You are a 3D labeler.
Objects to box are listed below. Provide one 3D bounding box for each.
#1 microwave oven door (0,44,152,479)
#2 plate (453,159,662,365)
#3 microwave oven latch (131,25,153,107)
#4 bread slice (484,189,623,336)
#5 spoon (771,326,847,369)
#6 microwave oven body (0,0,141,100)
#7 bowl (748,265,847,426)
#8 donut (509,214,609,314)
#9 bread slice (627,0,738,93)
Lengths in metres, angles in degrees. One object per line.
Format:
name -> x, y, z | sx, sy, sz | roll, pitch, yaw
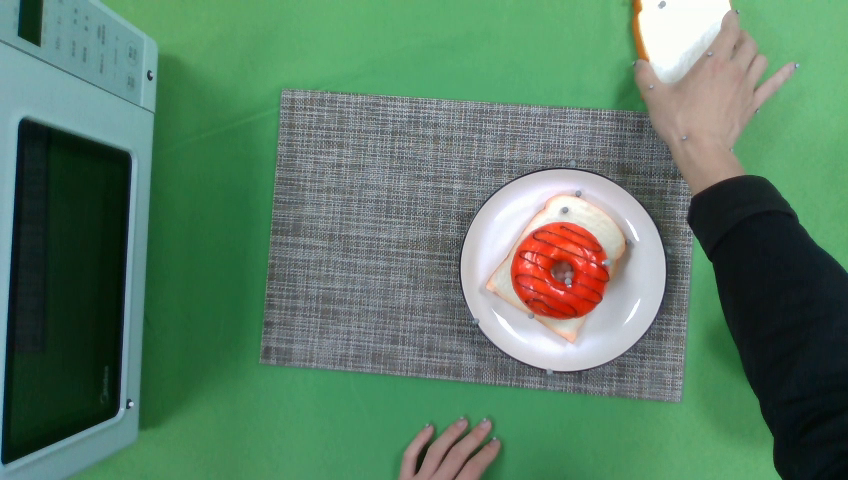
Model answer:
microwave oven door -> -0.324, 0.033, 0.538 | 0.039, 0.244, 0.355 | 2, 89, 4
plate -> 0.135, 0.023, 0.626 | 0.207, 0.039, 0.207 | 0, 89, 4
microwave oven latch -> -0.305, -0.183, 0.640 | 0.030, 0.029, 0.079 | 3, 90, 3
bread slice -> 0.138, 0.015, 0.629 | 0.107, 0.018, 0.134 | 29, 94, 4
spoon -> 0.431, 0.107, 0.561 | 0.193, 0.022, 0.041 | 1, 82, 25
microwave oven body -> -0.468, -0.015, 0.551 | 0.326, 0.260, 0.441 | 2, 90, 3
bowl -> 0.384, 0.098, 0.595 | 0.151, 0.077, 0.151 | 0, 89, 3
donut -> 0.132, 0.024, 0.599 | 0.099, 0.048, 0.099 | 0, 90, 4
bread slice -> 0.266, -0.225, 0.634 | 0.105, 0.019, 0.131 | -8, 89, 2
